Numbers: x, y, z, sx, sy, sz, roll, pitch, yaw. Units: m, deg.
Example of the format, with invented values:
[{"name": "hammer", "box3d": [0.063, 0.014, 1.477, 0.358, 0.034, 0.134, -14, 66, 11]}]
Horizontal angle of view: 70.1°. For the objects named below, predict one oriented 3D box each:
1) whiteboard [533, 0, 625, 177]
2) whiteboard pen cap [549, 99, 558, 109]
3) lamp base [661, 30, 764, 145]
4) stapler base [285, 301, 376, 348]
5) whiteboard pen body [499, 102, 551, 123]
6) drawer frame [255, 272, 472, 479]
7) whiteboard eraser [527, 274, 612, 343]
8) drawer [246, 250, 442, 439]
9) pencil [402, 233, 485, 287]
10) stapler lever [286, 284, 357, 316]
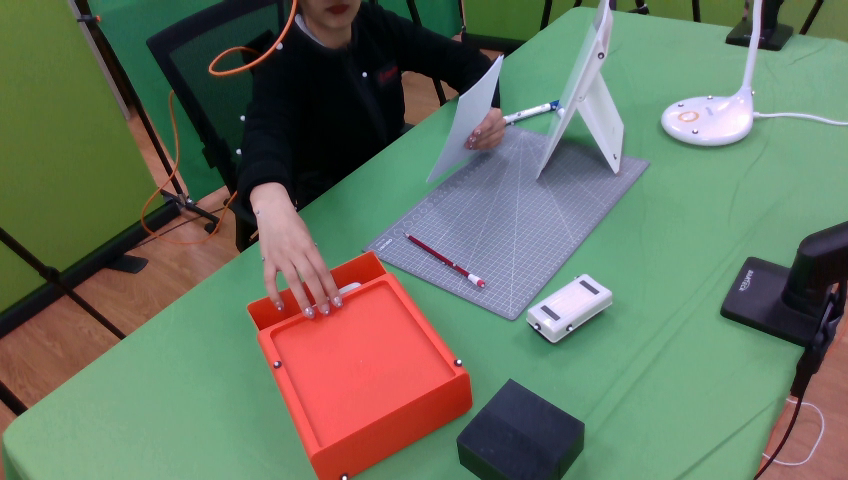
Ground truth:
[{"name": "whiteboard", "box3d": [0.321, -0.258, 1.049, 0.144, 0.306, 0.217, 20, 45, 4]}, {"name": "whiteboard pen cap", "box3d": [0.275, -0.286, 1.268, 0.033, 0.018, 0.018, -16, 41, -13]}, {"name": "lamp base", "box3d": [0.535, -0.287, 1.096, 0.179, 0.181, 0.159, -10, 40, -4]}, {"name": "stapler base", "box3d": [-0.135, 0.112, 0.854, 0.131, 0.024, 0.041, -19, 32, -11]}, {"name": "whiteboard pen body", "box3d": [0.221, -0.268, 1.256, 0.141, 0.017, 0.017, -19, 41, -12]}, {"name": "drawer frame", "box3d": [-0.079, 0.161, 0.760, 0.202, 0.083, 0.211, -24, 43, -18]}, {"name": "whiteboard eraser", "box3d": [0.198, 0.094, 0.820, 0.113, 0.042, 0.055, -30, 43, -22]}, {"name": "drawer", "box3d": [-0.108, 0.130, 0.805, 0.195, 0.073, 0.210, -23, 43, -18]}, {"name": "pencil", "box3d": [0.026, 0.028, 0.949, 0.012, 0.012, 0.192, -34, 44, -26]}, {"name": "stapler lever", "box3d": [-0.139, 0.095, 0.841, 0.118, 0.040, 0.026, -16, 32, -12]}]
